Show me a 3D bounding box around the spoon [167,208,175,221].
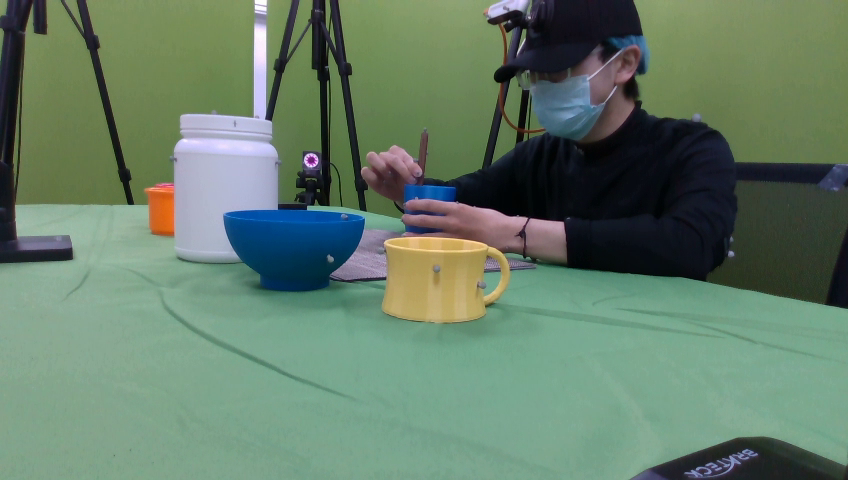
[{"bbox_3d":[-0.447,-0.104,1.192,0.041,0.022,0.193,7,52,14],"label":"spoon"}]

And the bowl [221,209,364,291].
[{"bbox_3d":[-0.142,0.011,0.660,0.151,0.077,0.151,2,7,0],"label":"bowl"}]

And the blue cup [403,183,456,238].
[{"bbox_3d":[0.005,-0.038,0.966,0.093,0.100,0.092,4,6,0],"label":"blue cup"}]

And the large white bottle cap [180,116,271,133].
[{"bbox_3d":[-0.262,-0.152,0.803,0.115,0.018,0.115,2,7,0],"label":"large white bottle cap"}]

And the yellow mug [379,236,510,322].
[{"bbox_3d":[0.024,0.034,0.575,0.131,0.064,0.099,0,7,-22],"label":"yellow mug"}]

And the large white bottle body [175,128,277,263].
[{"bbox_3d":[-0.265,-0.068,0.814,0.131,0.184,0.130,2,7,0],"label":"large white bottle body"}]

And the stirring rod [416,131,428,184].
[{"bbox_3d":[-0.008,-0.087,0.969,0.014,0.176,0.006,7,1,37],"label":"stirring rod"}]
